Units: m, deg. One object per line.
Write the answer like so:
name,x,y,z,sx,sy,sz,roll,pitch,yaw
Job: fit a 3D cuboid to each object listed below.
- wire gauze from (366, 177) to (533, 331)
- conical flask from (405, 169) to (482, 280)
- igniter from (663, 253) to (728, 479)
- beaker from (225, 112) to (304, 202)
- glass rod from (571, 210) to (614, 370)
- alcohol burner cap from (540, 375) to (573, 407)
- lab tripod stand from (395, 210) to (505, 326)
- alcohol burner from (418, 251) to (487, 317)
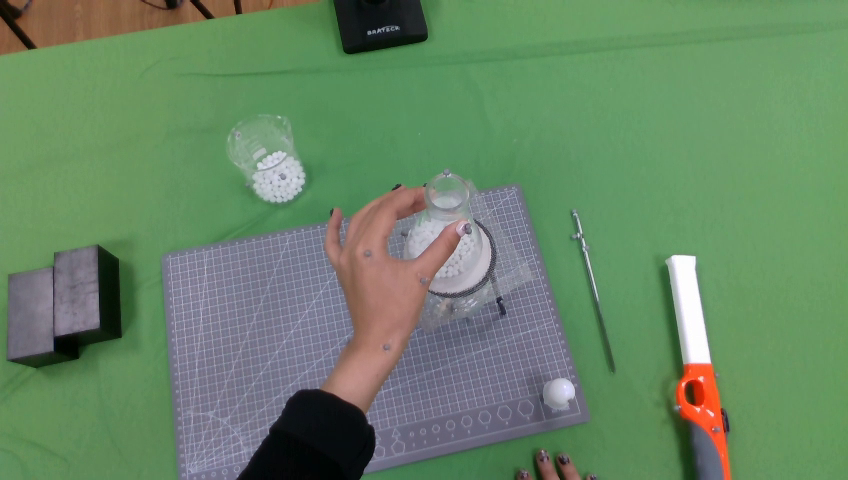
wire gauze,0.023,0.012,0.597,0.125,0.011,0.120,-27,72,-9
conical flask,0.018,-0.017,0.542,0.075,0.122,0.075,0,68,0
igniter,0.303,0.147,0.679,0.057,0.025,0.274,4,70,-9
beaker,-0.185,-0.097,0.729,0.073,0.101,0.084,35,73,12
glass rod,0.199,0.055,0.722,0.008,0.008,0.198,-7,70,-3
alcohol burner cap,0.147,0.163,0.662,0.034,0.048,0.033,0,70,0
lab tripod stand,0.025,0.037,0.659,0.148,0.132,0.147,0,72,0
alcohol burner,0.033,0.043,0.668,0.078,0.120,0.077,1,70,-1
